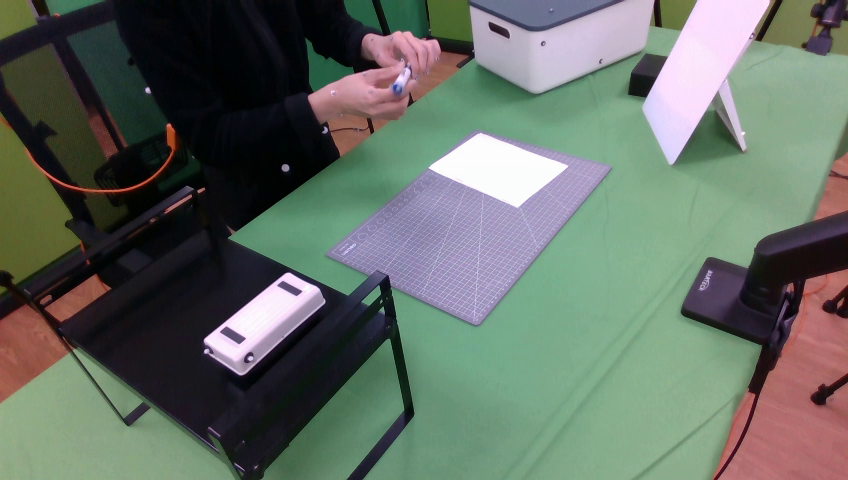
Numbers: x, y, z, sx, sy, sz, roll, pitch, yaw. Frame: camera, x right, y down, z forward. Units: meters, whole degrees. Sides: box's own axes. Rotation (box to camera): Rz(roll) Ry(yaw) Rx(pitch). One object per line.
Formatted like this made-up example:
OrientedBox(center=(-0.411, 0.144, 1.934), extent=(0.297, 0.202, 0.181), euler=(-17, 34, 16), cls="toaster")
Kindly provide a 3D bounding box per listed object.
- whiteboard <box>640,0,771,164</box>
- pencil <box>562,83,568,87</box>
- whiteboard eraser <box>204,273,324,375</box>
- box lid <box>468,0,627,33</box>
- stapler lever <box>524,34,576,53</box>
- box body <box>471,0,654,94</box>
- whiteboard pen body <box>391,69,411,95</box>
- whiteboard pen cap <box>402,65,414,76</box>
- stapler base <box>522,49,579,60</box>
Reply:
OrientedBox(center=(0.543, -0.299, 1.076), extent=(0.144, 0.305, 0.216), euler=(12, 40, -7), cls="whiteboard")
OrientedBox(center=(0.248, -0.393, 1.398), extent=(0.193, 0.012, 0.012), euler=(31, 52, 24), cls="pencil")
OrientedBox(center=(-0.157, 0.084, 0.605), extent=(0.055, 0.042, 0.113), euler=(24, 49, 30), cls="whiteboard eraser")
OrientedBox(center=(0.312, -0.554, 1.358), extent=(0.373, 0.015, 0.261), euler=(-26, 44, -20), cls="box lid")
OrientedBox(center=(0.297, -0.463, 1.424), extent=(0.117, 0.040, 0.027), euler=(5, 22, 17), cls="stapler lever")
OrientedBox(center=(0.319, -0.498, 1.405), extent=(0.365, 0.161, 0.252), euler=(-26, 43, -21), cls="box body")
OrientedBox(center=(-0.033, -0.243, 0.916), extent=(0.017, 0.017, 0.140), euler=(-1, 27, 7), cls="whiteboard pen body")
OrientedBox(center=(-0.027, -0.270, 0.968), extent=(0.018, 0.018, 0.033), euler=(3, 24, 11), cls="whiteboard pen cap")
OrientedBox(center=(0.300, -0.441, 1.433), extent=(0.130, 0.024, 0.041), euler=(3, 21, 18), cls="stapler base")
